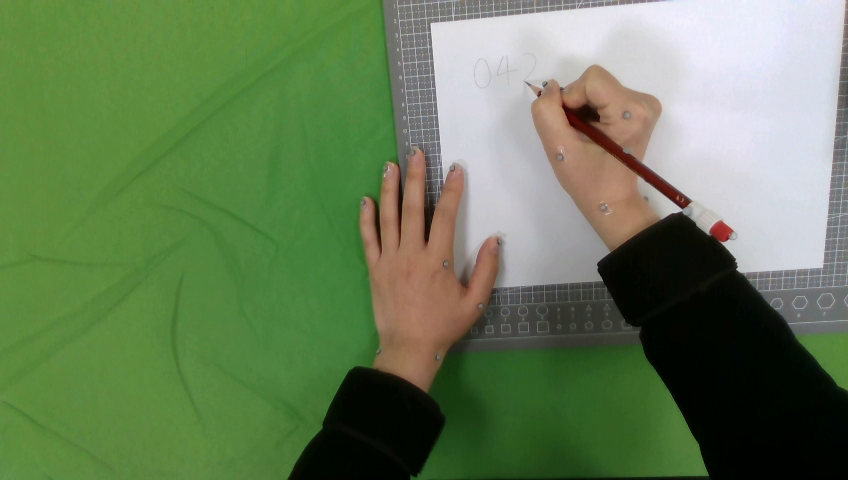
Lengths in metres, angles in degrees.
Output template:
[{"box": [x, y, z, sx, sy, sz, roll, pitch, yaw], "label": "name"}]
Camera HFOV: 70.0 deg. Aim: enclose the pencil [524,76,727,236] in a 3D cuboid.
[{"box": [0.121, -0.064, 0.397, 0.012, 0.192, 0.012, -21, 139, -19], "label": "pencil"}]
